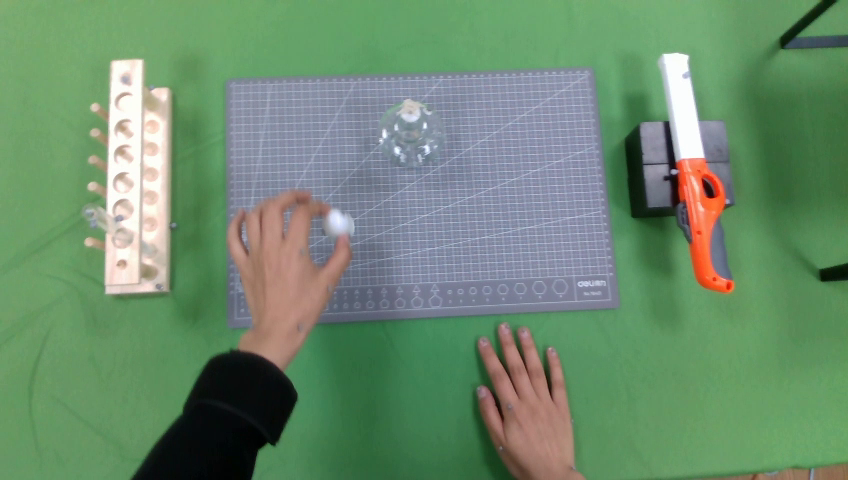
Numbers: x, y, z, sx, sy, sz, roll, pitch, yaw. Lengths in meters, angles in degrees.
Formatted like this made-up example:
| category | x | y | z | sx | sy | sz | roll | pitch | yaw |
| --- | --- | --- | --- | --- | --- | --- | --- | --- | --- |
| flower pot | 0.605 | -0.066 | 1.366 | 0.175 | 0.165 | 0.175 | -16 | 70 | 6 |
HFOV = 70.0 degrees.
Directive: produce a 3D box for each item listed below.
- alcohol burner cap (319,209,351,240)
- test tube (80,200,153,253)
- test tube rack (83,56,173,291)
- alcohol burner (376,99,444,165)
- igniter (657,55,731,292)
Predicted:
| category | x | y | z | sx | sy | sz | roll | pitch | yaw |
| --- | --- | --- | --- | --- | --- | --- | --- | --- | --- |
| alcohol burner cap | -0.096 | -0.018 | 0.639 | 0.034 | 0.048 | 0.034 | 0 | 83 | -2 |
| test tube | -0.302 | -0.010 | 0.606 | 0.017 | 0.150 | 0.017 | 1 | 75 | -5 |
| test tube rack | -0.327 | -0.069 | 0.665 | 0.067 | 0.085 | 0.241 | -2 | 80 | -2 |
| alcohol burner | -0.016 | -0.126 | 0.672 | 0.078 | 0.119 | 0.077 | 0 | 81 | 0 |
| igniter | 0.299 | -0.077 | 0.676 | 0.057 | 0.025 | 0.275 | -3 | 78 | -6 |
